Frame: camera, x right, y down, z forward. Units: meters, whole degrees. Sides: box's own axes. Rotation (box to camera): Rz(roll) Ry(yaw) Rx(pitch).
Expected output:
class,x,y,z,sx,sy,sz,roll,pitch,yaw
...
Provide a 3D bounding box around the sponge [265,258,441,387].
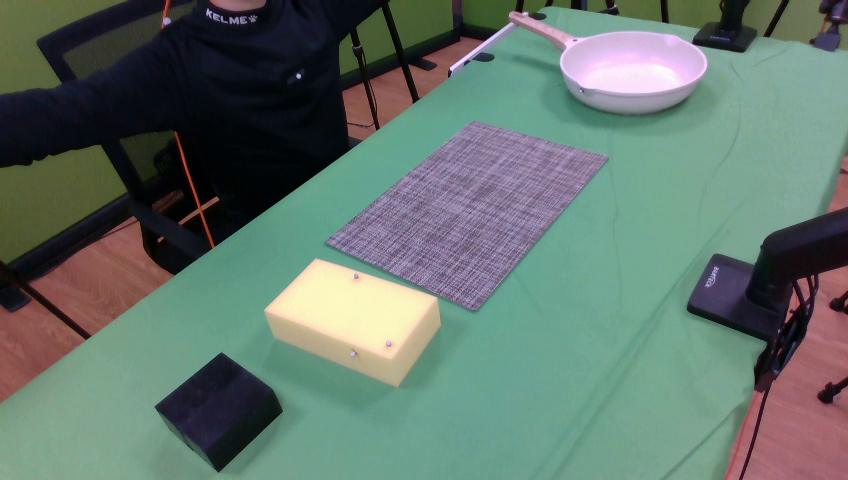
class,x,y,z,sx,sy,sz,roll,pitch,yaw
sponge,-0.096,0.107,0.830,0.205,0.061,0.118,16,46,25

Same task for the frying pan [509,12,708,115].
class,x,y,z,sx,sy,sz,roll,pitch,yaw
frying pan,0.369,-0.409,1.328,0.308,0.103,0.484,-31,54,-26
